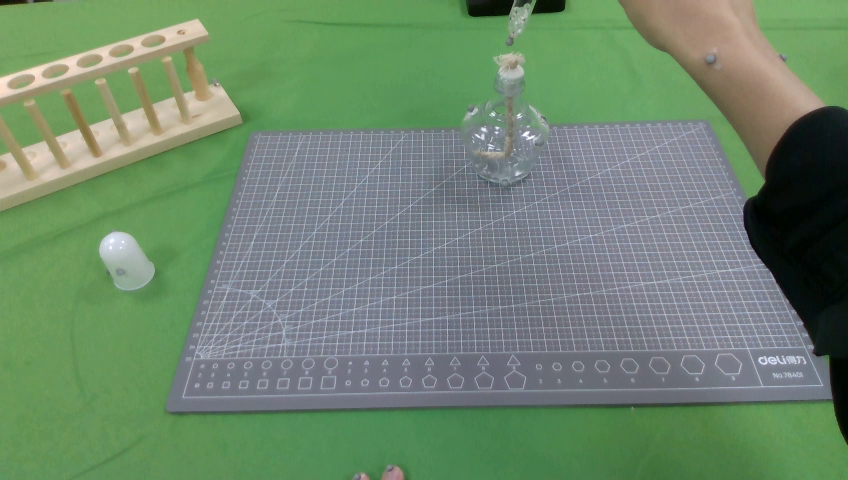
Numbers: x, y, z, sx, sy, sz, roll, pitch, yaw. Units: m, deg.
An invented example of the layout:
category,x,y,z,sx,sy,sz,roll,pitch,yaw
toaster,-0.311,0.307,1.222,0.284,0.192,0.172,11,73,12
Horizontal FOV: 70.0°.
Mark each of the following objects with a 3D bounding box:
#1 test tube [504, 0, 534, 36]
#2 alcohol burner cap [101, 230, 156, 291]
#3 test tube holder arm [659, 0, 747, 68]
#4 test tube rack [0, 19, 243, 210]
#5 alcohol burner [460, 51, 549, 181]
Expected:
category,x,y,z,sx,sy,sz,roll,pitch,yaw
test tube,0.085,-0.209,0.413,0.017,0.151,0.017,10,46,-10
alcohol burner cap,-0.234,0.014,0.474,0.034,0.048,0.033,-1,48,1
test tube holder arm,0.135,-0.174,0.384,0.013,0.015,0.177,-30,73,-34
test tube rack,-0.305,-0.119,0.564,0.242,0.086,0.066,-25,52,-19
alcohol burner,0.070,-0.108,0.517,0.078,0.120,0.077,0,50,0
